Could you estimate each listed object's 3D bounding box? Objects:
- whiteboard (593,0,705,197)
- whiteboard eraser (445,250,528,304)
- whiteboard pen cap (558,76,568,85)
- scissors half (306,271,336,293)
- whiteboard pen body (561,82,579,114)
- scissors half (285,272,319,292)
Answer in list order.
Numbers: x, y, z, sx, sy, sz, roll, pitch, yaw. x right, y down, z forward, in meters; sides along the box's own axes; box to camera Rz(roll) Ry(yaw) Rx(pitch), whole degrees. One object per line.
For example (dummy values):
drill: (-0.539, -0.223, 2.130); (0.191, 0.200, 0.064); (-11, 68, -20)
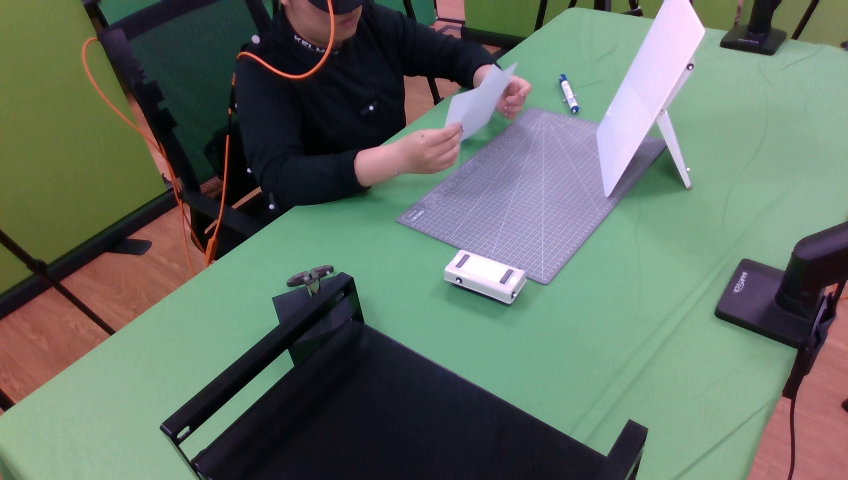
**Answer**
whiteboard: (0.421, -0.227, 1.009); (0.144, 0.305, 0.216); (17, 41, -3)
whiteboard eraser: (0.090, 0.056, 0.882); (0.112, 0.042, 0.056); (17, 44, 27)
whiteboard pen cap: (0.310, -0.350, 1.340); (0.018, 0.018, 0.033); (-6, 41, 2)
scissors half: (-0.152, 0.061, 0.872); (0.040, 0.013, 0.175); (-4, 6, -4)
whiteboard pen body: (0.310, -0.311, 1.298); (0.017, 0.017, 0.140); (-6, 41, 2)
scissors half: (-0.172, 0.063, 0.868); (0.040, 0.013, 0.174); (-11, 7, -21)
